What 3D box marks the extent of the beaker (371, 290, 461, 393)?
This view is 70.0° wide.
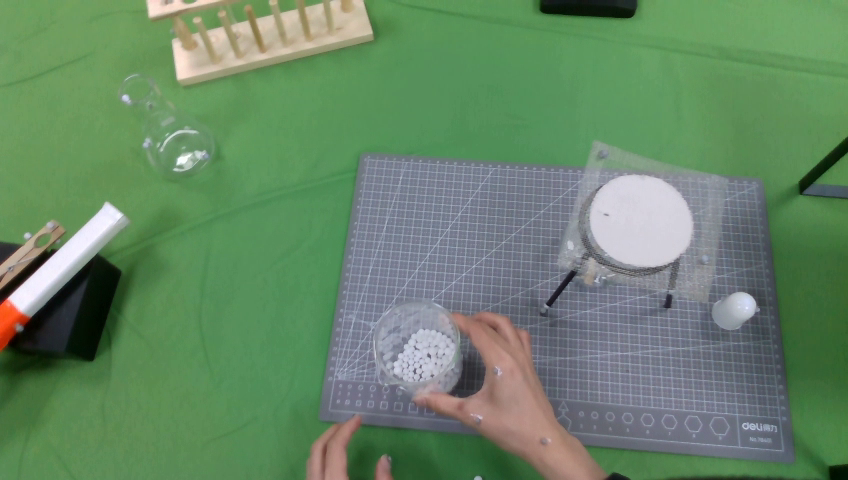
[{"bbox_3d":[-0.005,0.100,0.551,0.073,0.101,0.084,37,77,19],"label":"beaker"}]

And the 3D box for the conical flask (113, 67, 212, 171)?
[{"bbox_3d":[-0.285,-0.133,0.651,0.075,0.123,0.075,-1,68,2],"label":"conical flask"}]

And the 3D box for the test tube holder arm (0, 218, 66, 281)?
[{"bbox_3d":[-0.394,0.012,0.600,0.087,0.015,0.010,-47,104,-15],"label":"test tube holder arm"}]

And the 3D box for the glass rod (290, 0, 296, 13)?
[{"bbox_3d":[-0.170,-0.327,0.673,0.008,0.201,0.008,-3,61,7],"label":"glass rod"}]

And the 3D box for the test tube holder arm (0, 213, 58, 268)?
[{"bbox_3d":[-0.428,0.040,0.587,0.013,0.015,0.178,47,75,-14],"label":"test tube holder arm"}]

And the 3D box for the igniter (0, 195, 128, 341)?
[{"bbox_3d":[-0.397,0.065,0.577,0.057,0.025,0.276,32,72,23],"label":"igniter"}]

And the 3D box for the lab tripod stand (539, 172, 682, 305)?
[{"bbox_3d":[0.180,0.006,0.573,0.148,0.132,0.147,0,67,0],"label":"lab tripod stand"}]

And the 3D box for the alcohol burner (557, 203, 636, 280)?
[{"bbox_3d":[0.171,-0.004,0.588,0.078,0.120,0.077,0,67,0],"label":"alcohol burner"}]

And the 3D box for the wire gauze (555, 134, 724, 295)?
[{"bbox_3d":[0.185,-0.024,0.512,0.121,0.011,0.124,17,71,7],"label":"wire gauze"}]

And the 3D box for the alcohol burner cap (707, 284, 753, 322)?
[{"bbox_3d":[0.304,0.060,0.597,0.034,0.048,0.033,-1,68,2],"label":"alcohol burner cap"}]

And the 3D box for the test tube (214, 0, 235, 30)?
[{"bbox_3d":[-0.239,-0.297,0.681,0.017,0.151,0.017,0,62,0],"label":"test tube"}]

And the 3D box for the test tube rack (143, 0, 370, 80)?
[{"bbox_3d":[-0.194,-0.271,0.723,0.242,0.086,0.066,-15,68,-4],"label":"test tube rack"}]
